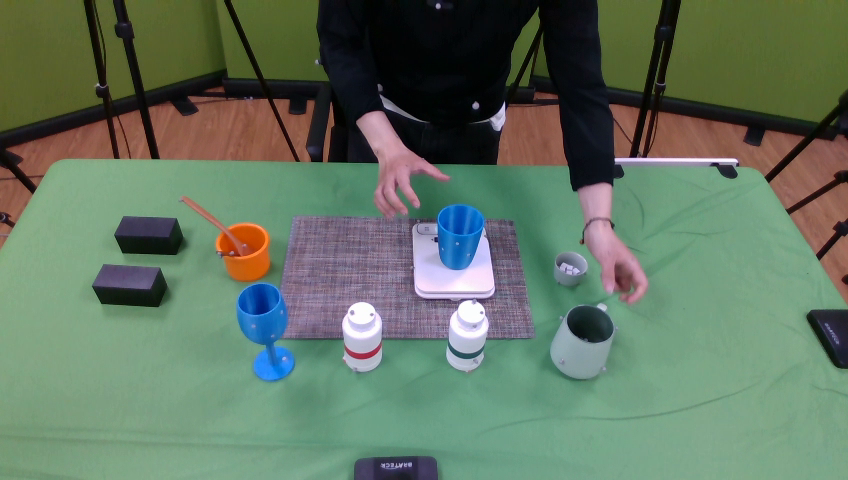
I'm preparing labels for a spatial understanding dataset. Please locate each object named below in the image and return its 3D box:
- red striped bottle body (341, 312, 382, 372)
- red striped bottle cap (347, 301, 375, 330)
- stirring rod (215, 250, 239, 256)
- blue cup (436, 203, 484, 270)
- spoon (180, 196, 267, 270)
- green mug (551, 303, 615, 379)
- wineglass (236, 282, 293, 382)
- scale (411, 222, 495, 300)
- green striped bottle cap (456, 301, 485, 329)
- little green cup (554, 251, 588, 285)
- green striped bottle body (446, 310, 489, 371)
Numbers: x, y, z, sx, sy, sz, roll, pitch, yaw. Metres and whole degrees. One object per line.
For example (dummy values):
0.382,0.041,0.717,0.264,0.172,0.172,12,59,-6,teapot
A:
-0.100,0.154,0.972,0.063,0.120,0.062,2,46,-1,red striped bottle body
-0.097,0.116,0.934,0.044,0.018,0.044,2,49,-2,red striped bottle cap
-0.340,0.024,1.059,0.014,0.176,0.006,17,86,-6,stirring rod
0.061,-0.001,1.099,0.093,0.101,0.092,2,43,-2,blue cup
-0.360,-0.014,1.094,0.021,0.194,0.041,-27,26,31,spoon
0.271,0.157,1.007,0.092,0.105,0.125,27,50,21,green mug
-0.243,0.143,0.934,0.074,0.173,0.073,2,46,-2,wineglass
0.052,0.031,1.158,0.149,0.032,0.199,1,46,-4,scale
0.073,0.116,0.943,0.044,0.020,0.044,3,47,-3,green striped bottle cap
0.276,0.055,1.152,0.061,0.039,0.061,1,45,-1,little green cup
0.070,0.155,0.984,0.063,0.120,0.063,2,46,-2,green striped bottle body
